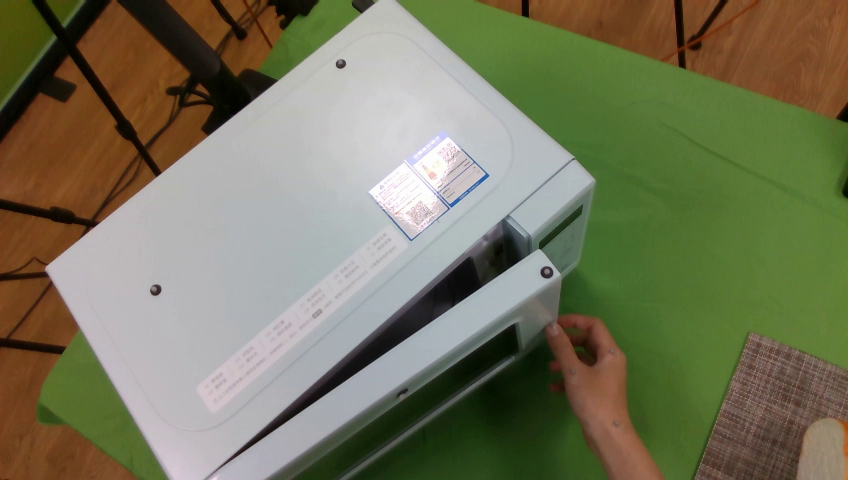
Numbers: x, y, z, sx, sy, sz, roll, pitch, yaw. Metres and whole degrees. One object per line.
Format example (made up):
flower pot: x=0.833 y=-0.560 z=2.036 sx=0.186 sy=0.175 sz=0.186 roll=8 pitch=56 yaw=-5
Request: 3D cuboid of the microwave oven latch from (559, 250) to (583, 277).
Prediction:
microwave oven latch: x=0.153 y=0.033 z=0.721 sx=0.079 sy=0.030 sz=0.030 roll=-39 pitch=69 yaw=-4

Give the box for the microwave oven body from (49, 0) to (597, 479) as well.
microwave oven body: x=-0.092 y=0.015 z=0.668 sx=0.441 sy=0.262 sz=0.323 roll=-41 pitch=69 yaw=-5

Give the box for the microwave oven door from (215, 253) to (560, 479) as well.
microwave oven door: x=-0.019 y=0.155 z=0.599 sx=0.356 sy=0.246 sz=0.039 roll=-34 pitch=67 yaw=-3
